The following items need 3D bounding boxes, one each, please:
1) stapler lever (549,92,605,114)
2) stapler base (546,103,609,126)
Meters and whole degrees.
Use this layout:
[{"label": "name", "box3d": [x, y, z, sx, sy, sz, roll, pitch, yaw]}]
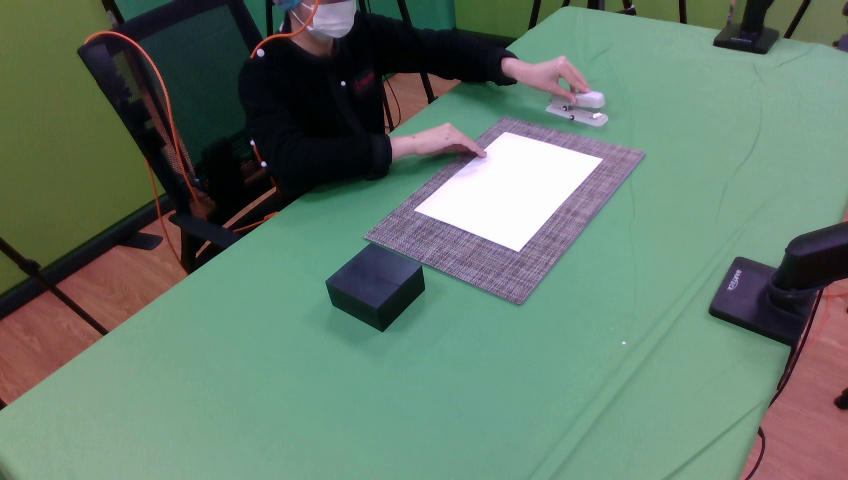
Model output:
[{"label": "stapler lever", "box3d": [0.309, -0.285, 1.220, 0.117, 0.040, 0.027, 26, 48, 35]}, {"label": "stapler base", "box3d": [0.314, -0.265, 1.235, 0.129, 0.024, 0.041, 26, 48, 35]}]
